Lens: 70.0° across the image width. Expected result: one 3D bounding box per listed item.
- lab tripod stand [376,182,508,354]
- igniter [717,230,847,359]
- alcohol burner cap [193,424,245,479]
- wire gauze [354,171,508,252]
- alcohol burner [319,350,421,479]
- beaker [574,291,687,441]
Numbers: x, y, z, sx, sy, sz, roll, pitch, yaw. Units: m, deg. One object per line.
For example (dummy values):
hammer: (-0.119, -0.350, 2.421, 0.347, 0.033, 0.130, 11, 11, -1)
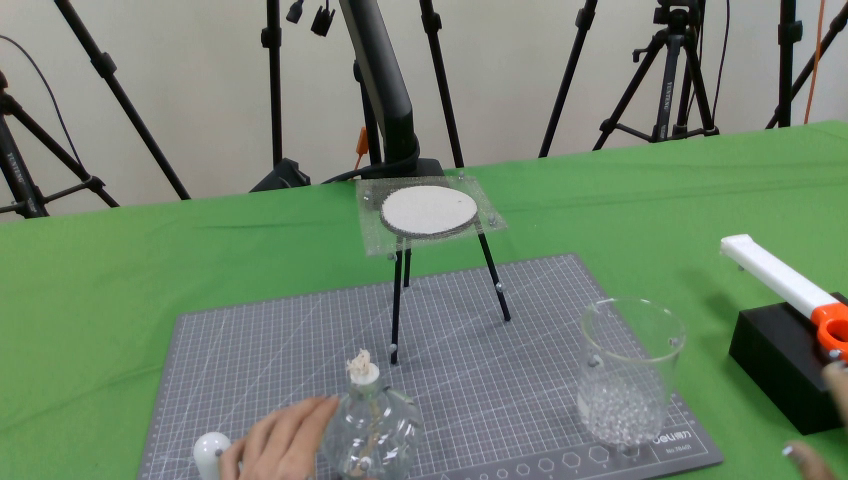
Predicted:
lab tripod stand: (0.009, 0.021, 0.584, 0.148, 0.132, 0.147, -1, 32, 1)
igniter: (0.340, 0.063, 0.505, 0.057, 0.025, 0.273, -10, 30, -8)
alcohol burner cap: (-0.159, 0.162, 0.466, 0.034, 0.048, 0.033, -3, 34, 2)
wire gauze: (0.001, -0.033, 0.543, 0.122, 0.011, 0.123, -7, 33, -8)
alcohol burner: (-0.041, 0.124, 0.448, 0.078, 0.120, 0.077, -2, 35, 2)
beaker: (0.155, 0.100, 0.479, 0.074, 0.101, 0.083, -18, 35, -21)
